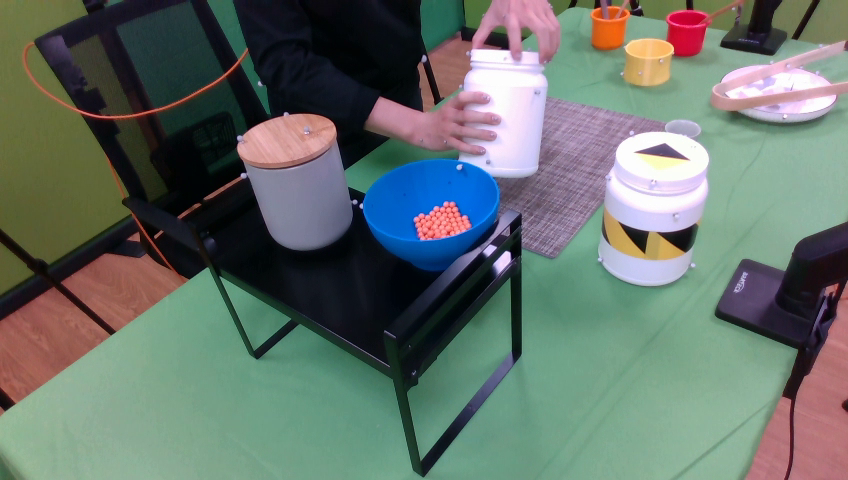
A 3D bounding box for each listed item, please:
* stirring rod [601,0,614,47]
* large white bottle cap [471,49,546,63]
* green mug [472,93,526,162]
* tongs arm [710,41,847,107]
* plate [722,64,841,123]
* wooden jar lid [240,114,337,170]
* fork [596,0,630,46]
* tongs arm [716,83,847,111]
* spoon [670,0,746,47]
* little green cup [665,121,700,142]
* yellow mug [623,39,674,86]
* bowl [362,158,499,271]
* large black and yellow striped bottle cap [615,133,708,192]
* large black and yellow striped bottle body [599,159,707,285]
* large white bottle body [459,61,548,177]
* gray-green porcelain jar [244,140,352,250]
[{"bbox_3d":[0.439,-0.552,1.463,0.014,0.006,0.175,-7,83,2],"label":"stirring rod"},{"bbox_3d":[0.129,-0.282,0.932,0.115,0.018,0.114,3,18,0],"label":"large white bottle cap"},{"bbox_3d":[0.143,-0.201,1.122,0.093,0.105,0.124,-29,45,-23],"label":"green mug"},{"bbox_3d":[0.712,-0.332,1.194,0.386,0.026,0.050,-19,45,-16],"label":"tongs arm"},{"bbox_3d":[0.695,-0.283,1.189,0.207,0.039,0.206,-4,40,4],"label":"plate"},{"bbox_3d":[-0.149,-0.106,0.673,0.108,0.021,0.108,-6,38,5],"label":"wooden jar lid"},{"bbox_3d":[0.481,-0.556,1.452,0.028,0.019,0.207,40,103,38],"label":"fork"},{"bbox_3d":[0.738,-0.281,1.134,0.388,0.028,0.028,-9,47,-5],"label":"tongs arm"},{"bbox_3d":[0.629,-0.485,1.350,0.022,0.193,0.042,47,54,-7],"label":"spoon"},{"bbox_3d":[0.473,-0.188,1.113,0.061,0.039,0.061,-5,40,5],"label":"little green cup"},{"bbox_3d":[0.484,-0.398,1.333,0.100,0.064,0.130,-18,41,-11],"label":"yellow mug"},{"bbox_3d":[0.011,-0.019,0.679,0.151,0.077,0.150,-5,41,4],"label":"bowl"},{"bbox_3d":[0.312,-0.105,0.799,0.115,0.019,0.114,-5,41,5],"label":"large black and yellow striped bottle cap"},{"bbox_3d":[0.320,-0.042,0.854,0.131,0.185,0.130,-4,40,4],"label":"large black and yellow striped bottle body"},{"bbox_3d":[0.126,-0.202,0.959,0.131,0.185,0.130,3,18,0],"label":"large white bottle body"},{"bbox_3d":[-0.144,-0.060,0.714,0.106,0.127,0.105,-4,41,4],"label":"gray-green porcelain jar"}]
